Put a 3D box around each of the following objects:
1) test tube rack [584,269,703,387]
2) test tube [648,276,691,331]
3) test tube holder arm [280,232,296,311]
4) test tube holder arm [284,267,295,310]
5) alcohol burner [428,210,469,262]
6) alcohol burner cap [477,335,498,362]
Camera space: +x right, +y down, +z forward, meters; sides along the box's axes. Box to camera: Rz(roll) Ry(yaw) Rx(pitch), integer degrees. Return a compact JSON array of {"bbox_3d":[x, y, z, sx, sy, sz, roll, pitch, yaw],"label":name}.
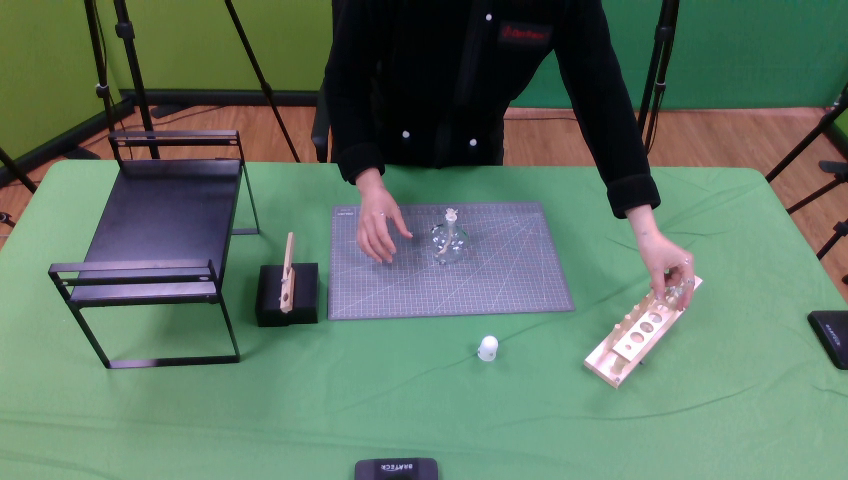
[{"bbox_3d":[0.381,0.139,1.045,0.066,0.085,0.242,37,54,28],"label":"test tube rack"},{"bbox_3d":[0.406,0.109,1.007,0.017,0.151,0.017,3,50,-4],"label":"test tube"},{"bbox_3d":[-0.239,0.051,1.066,0.013,0.015,0.177,-13,45,5],"label":"test tube holder arm"},{"bbox_3d":[-0.229,0.082,1.034,0.010,0.015,0.087,-13,45,5],"label":"test tube holder arm"},{"bbox_3d":[0.048,-0.014,1.146,0.078,0.119,0.077,3,48,-3],"label":"alcohol burner"},{"bbox_3d":[0.108,0.180,1.016,0.034,0.048,0.033,3,51,-3],"label":"alcohol burner cap"}]
